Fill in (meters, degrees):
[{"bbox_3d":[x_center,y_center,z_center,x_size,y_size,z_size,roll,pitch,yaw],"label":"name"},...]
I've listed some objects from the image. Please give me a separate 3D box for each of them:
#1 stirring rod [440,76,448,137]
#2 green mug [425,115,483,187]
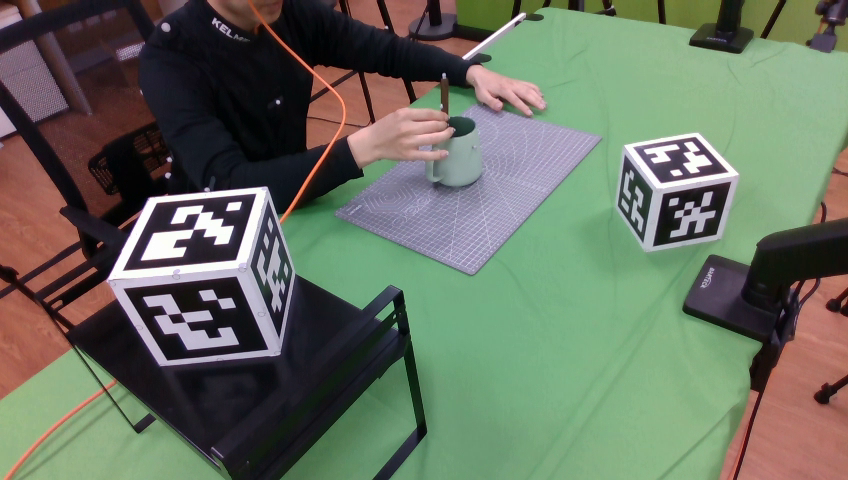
[{"bbox_3d":[0.034,-0.198,1.034,0.014,0.177,0.005,-23,45,-23],"label":"stirring rod"},{"bbox_3d":[0.047,-0.148,1.068,0.092,0.105,0.125,24,49,32],"label":"green mug"}]
